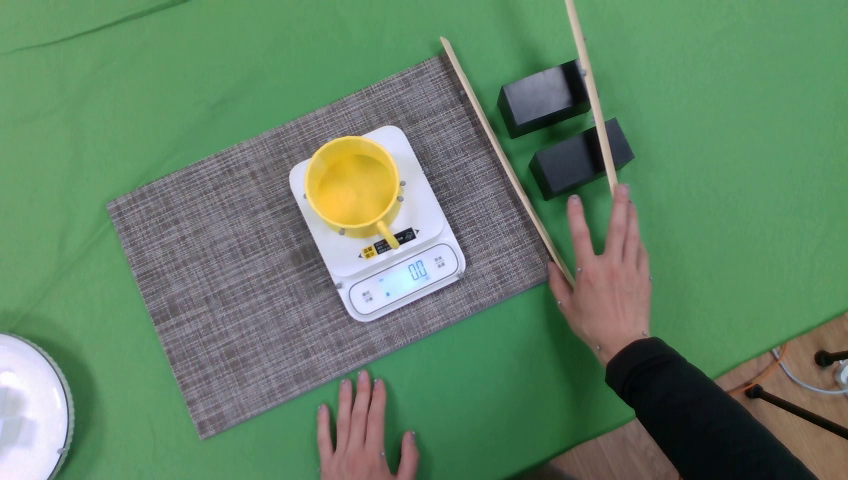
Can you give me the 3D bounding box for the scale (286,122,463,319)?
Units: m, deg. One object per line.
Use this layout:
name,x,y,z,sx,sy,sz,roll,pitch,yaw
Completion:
scale,-0.058,-0.024,0.700,0.149,0.031,0.200,-25,84,-2

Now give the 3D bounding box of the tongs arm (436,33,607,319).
tongs arm,0.108,-0.078,0.709,0.028,0.028,0.386,-30,83,21

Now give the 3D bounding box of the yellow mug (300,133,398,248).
yellow mug,-0.070,-0.046,0.655,0.100,0.064,0.130,-35,85,-5

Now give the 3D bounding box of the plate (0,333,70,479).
plate,-0.494,0.204,0.673,0.208,0.039,0.207,0,83,0

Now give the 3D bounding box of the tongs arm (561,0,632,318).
tongs arm,0.177,-0.105,0.672,0.050,0.026,0.384,-15,90,25
